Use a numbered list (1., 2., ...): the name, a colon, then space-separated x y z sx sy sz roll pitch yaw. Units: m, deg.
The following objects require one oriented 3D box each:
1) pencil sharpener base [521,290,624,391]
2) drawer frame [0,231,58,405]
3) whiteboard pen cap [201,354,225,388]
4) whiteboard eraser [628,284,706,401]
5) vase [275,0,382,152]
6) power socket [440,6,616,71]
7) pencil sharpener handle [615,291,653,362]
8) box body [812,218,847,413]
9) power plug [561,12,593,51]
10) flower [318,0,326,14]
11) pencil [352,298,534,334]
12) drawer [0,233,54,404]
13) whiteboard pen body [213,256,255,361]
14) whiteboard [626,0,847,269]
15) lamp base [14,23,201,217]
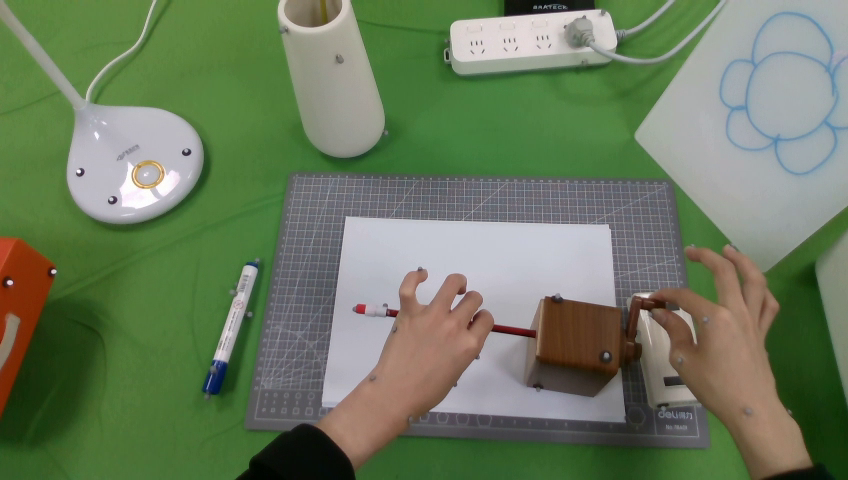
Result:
1. pencil sharpener base: 0.136 0.097 0.567 0.076 0.108 0.061 8 65 6
2. drawer frame: -0.497 0.087 0.566 0.213 0.083 0.200 5 65 2
3. whiteboard pen cap: -0.211 0.131 0.609 0.018 0.018 0.033 6 59 6
4. whiteboard eraser: 0.236 0.100 0.599 0.055 0.042 0.111 -3 64 -1
5. vase: -0.104 -0.183 0.662 0.098 0.201 0.097 -1 64 3
6. power socket: 0.134 -0.261 0.782 0.227 0.033 0.071 -4 65 0
7. pencil sharpener handle: 0.188 0.078 0.544 0.030 0.036 0.067 8 65 6
8. box body: 0.518 0.130 0.510 0.254 0.161 0.361 1 65 3
9. power plug: 0.186 -0.248 0.748 0.035 0.053 0.072 5 66 5
10. flower: -0.100 -0.235 0.595 0.038 0.365 0.043 -10 46 -10
11. pencil: 0.030 0.071 0.551 0.194 0.012 0.012 8 65 3
12. drawer: -0.491 0.085 0.564 0.211 0.074 0.193 4 66 4
13. whiteboard pen body: -0.202 0.080 0.637 0.017 0.017 0.139 6 61 5
14. whiteboard: 0.393 -0.155 0.605 0.144 0.307 0.215 -20 63 -28
15. lamp base: -0.361 -0.138 0.660 0.178 0.182 0.160 32 69 19
